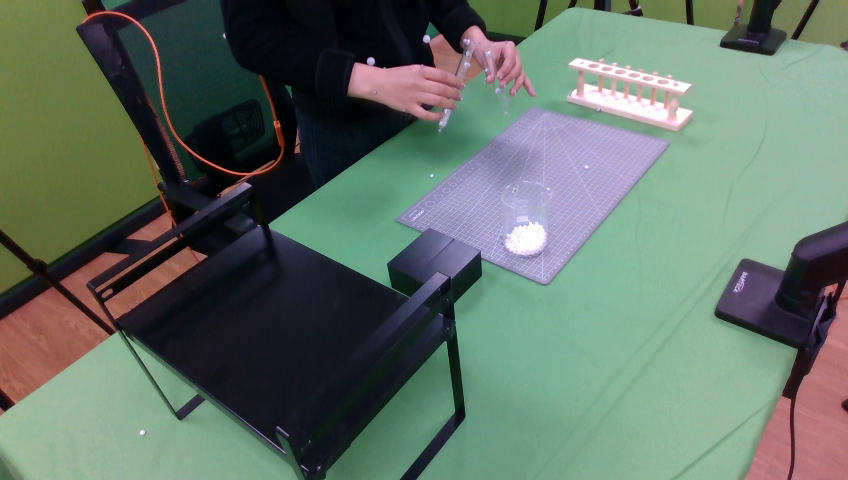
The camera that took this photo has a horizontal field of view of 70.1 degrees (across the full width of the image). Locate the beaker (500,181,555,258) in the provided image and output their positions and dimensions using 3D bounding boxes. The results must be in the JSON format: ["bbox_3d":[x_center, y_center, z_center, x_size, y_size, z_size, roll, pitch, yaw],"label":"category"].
[{"bbox_3d":[0.158,-0.030,0.922,0.084,0.100,0.073,-13,41,-8],"label":"beaker"}]

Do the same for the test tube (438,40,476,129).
[{"bbox_3d":[0.055,-0.259,1.014,0.017,0.150,0.017,19,13,-4],"label":"test tube"}]

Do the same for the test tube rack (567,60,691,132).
[{"bbox_3d":[0.411,-0.300,1.216,0.240,0.085,0.067,26,51,33],"label":"test tube rack"}]

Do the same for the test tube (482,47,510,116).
[{"bbox_3d":[0.131,-0.280,1.084,0.017,0.151,0.017,-13,49,15],"label":"test tube"}]
